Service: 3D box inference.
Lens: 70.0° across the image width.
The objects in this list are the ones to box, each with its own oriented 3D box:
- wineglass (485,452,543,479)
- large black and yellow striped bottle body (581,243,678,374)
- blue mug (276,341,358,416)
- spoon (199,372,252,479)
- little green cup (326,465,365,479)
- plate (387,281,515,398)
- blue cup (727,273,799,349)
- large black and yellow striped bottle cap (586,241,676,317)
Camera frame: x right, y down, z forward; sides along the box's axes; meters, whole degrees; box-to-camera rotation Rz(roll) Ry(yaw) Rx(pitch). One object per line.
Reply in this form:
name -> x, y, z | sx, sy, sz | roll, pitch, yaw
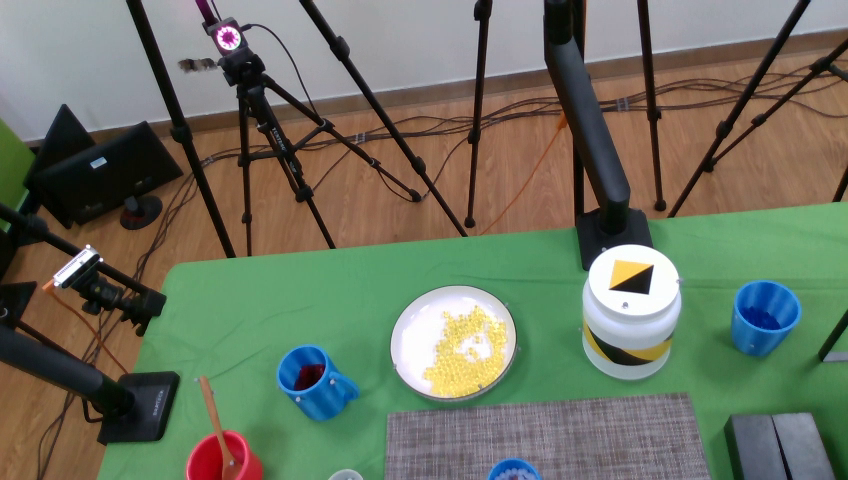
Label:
wineglass -> 0.117, 0.324, 0.756 | 0.073, 0.174, 0.073 | -6, 52, 9
large black and yellow striped bottle body -> 0.295, 0.100, 0.880 | 0.130, 0.186, 0.129 | -7, 53, 9
blue mug -> -0.159, 0.221, 0.947 | 0.116, 0.107, 0.082 | 5, 55, 16
spoon -> -0.301, 0.289, 0.905 | 0.041, 0.021, 0.194 | -16, 97, -1
little green cup -> -0.110, 0.361, 0.873 | 0.061, 0.039, 0.061 | -6, 53, 9
plate -> 0.045, 0.162, 0.987 | 0.209, 0.038, 0.207 | -6, 53, 9
blue cup -> 0.483, 0.111, 0.879 | 0.092, 0.101, 0.092 | -8, 53, 10
large black and yellow striped bottle cap -> 0.277, 0.051, 0.814 | 0.115, 0.019, 0.114 | -7, 51, 9
